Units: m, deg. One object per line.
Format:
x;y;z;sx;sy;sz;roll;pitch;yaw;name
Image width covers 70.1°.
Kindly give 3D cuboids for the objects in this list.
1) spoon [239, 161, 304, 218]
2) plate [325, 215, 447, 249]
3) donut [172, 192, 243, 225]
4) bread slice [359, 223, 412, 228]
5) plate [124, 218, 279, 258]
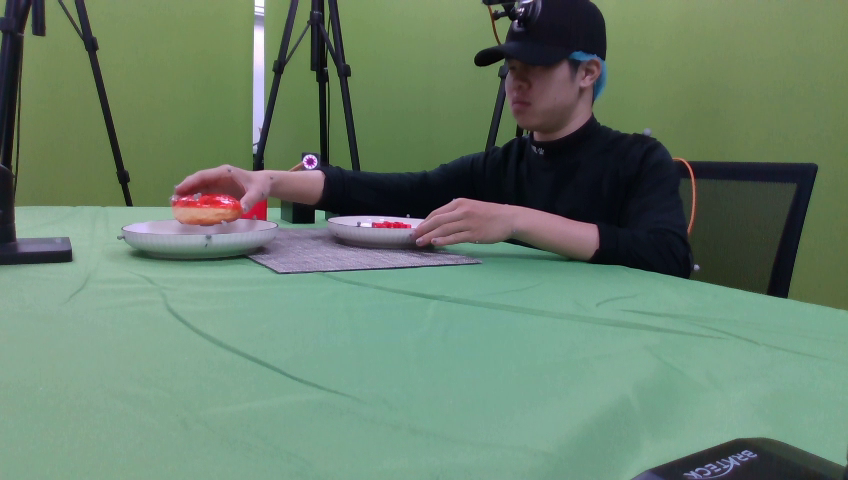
-0.314;-0.096;1.192;0.194;0.022;0.041;-42;13;-5;spoon
-0.065;-0.015;1.035;0.209;0.038;0.209;3;8;0;plate
-0.318;-0.046;0.892;0.099;0.048;0.099;0;8;0;donut
-0.062;-0.012;1.034;0.105;0.019;0.131;1;9;-19;bread slice
-0.315;-0.004;0.871;0.208;0.039;0.207;1;8;0;plate
